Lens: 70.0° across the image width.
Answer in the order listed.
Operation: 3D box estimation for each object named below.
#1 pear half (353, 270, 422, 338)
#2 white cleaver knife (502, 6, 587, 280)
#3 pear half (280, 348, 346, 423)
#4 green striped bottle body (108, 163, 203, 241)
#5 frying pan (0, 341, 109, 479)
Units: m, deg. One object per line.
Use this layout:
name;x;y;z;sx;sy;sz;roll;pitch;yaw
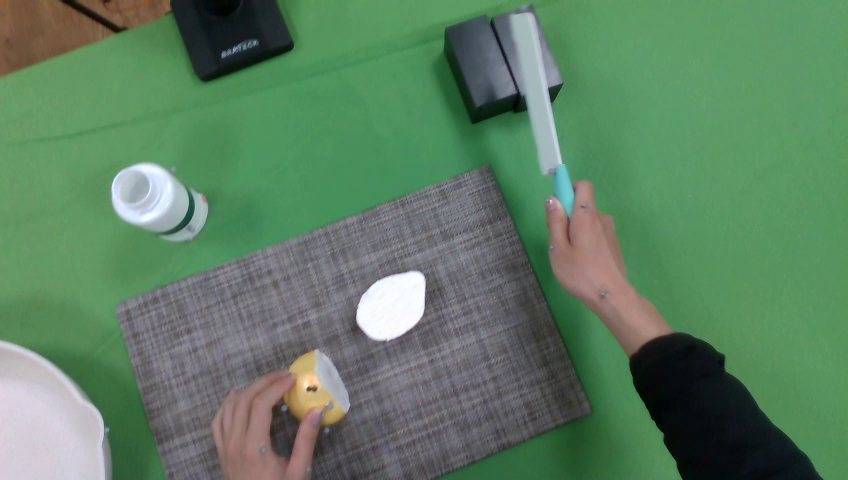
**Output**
pear half;-0.035;0.072;0.662;0.070;0.031;0.088;38;69;22
white cleaver knife;0.125;-0.093;0.621;0.021;0.065;0.287;-16;104;-5
pear half;-0.119;0.151;0.609;0.056;0.110;0.076;-34;78;-6
green striped bottle body;-0.283;-0.040;0.636;0.063;0.119;0.063;0;79;-1
frying pan;-0.410;0.333;0.579;0.307;0.103;0.484;-26;74;-5
